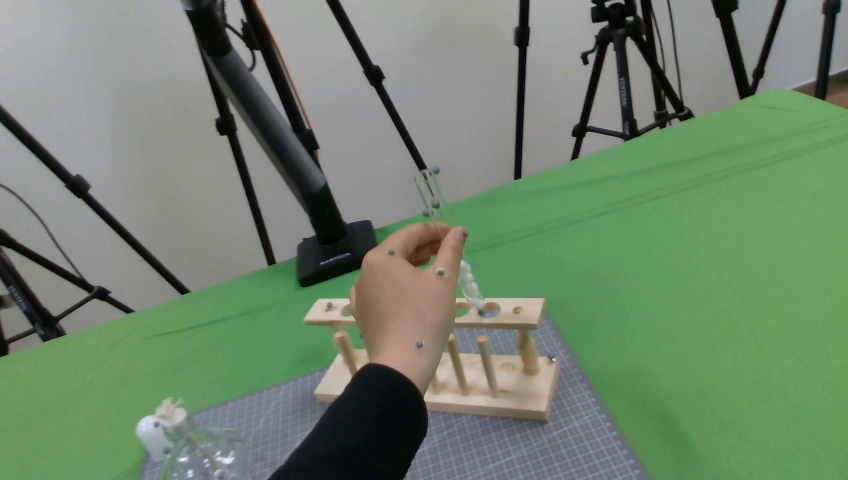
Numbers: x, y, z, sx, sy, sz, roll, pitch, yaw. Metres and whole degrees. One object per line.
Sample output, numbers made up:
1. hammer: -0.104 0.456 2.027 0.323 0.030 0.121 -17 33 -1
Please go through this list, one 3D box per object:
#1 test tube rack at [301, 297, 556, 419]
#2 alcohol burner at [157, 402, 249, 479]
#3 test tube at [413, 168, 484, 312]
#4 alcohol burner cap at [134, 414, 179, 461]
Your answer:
1. test tube rack: -0.005 0.109 0.581 0.241 0.086 0.066 -3 33 25
2. alcohol burner: -0.204 0.185 0.534 0.078 0.120 0.077 -12 32 8
3. test tube: 0.022 0.006 0.486 0.017 0.152 0.017 -15 39 12
4. alcohol burner cap: -0.278 0.199 0.623 0.034 0.048 0.033 -12 31 8
